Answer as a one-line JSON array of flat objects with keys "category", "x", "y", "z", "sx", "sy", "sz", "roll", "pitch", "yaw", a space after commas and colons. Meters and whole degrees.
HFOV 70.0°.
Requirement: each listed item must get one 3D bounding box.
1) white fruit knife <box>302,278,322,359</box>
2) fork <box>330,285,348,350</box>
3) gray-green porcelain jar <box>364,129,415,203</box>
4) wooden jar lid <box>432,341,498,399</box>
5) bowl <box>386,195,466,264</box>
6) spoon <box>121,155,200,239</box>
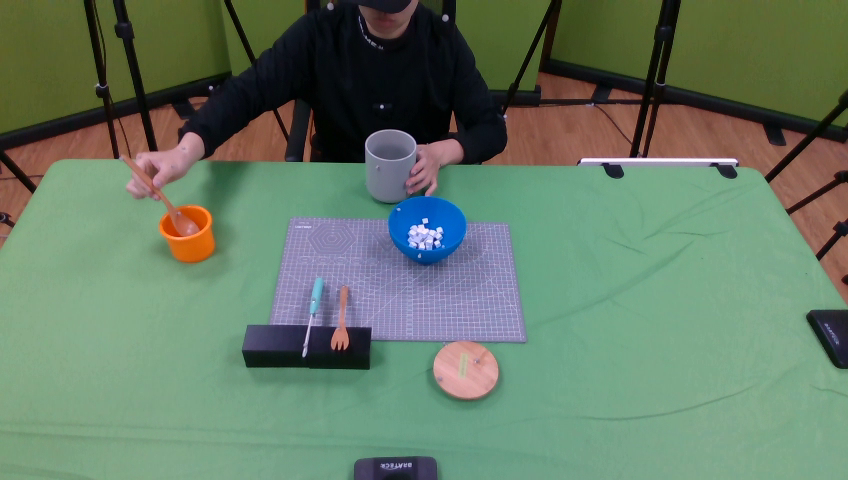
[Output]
[{"category": "white fruit knife", "x": -0.189, "y": 0.126, "z": 1.020, "sx": 0.016, "sy": 0.027, "sz": 0.206, "roll": 0, "pitch": 33, "yaw": -2}, {"category": "fork", "x": -0.140, "y": 0.127, "z": 1.021, "sx": 0.028, "sy": 0.019, "sz": 0.206, "roll": -5, "pitch": 28, "yaw": -3}, {"category": "gray-green porcelain jar", "x": -0.073, "y": -0.150, "z": 1.264, "sx": 0.106, "sy": 0.127, "sz": 0.105, "roll": 2, "pitch": 46, "yaw": -2}, {"category": "wooden jar lid", "x": 0.067, "y": 0.216, "z": 0.997, "sx": 0.108, "sy": 0.021, "sz": 0.107, "roll": 1, "pitch": 46, "yaw": -1}, {"category": "bowl", "x": 0.002, "y": -0.007, "z": 1.162, "sx": 0.151, "sy": 0.077, "sz": 0.150, "roll": 2, "pitch": 46, "yaw": -2}, {"category": "spoon", "x": -0.468, "y": -0.076, "z": 1.082, "sx": 0.021, "sy": 0.195, "sz": 0.041, "roll": -11, "pitch": 37, "yaw": 25}]
